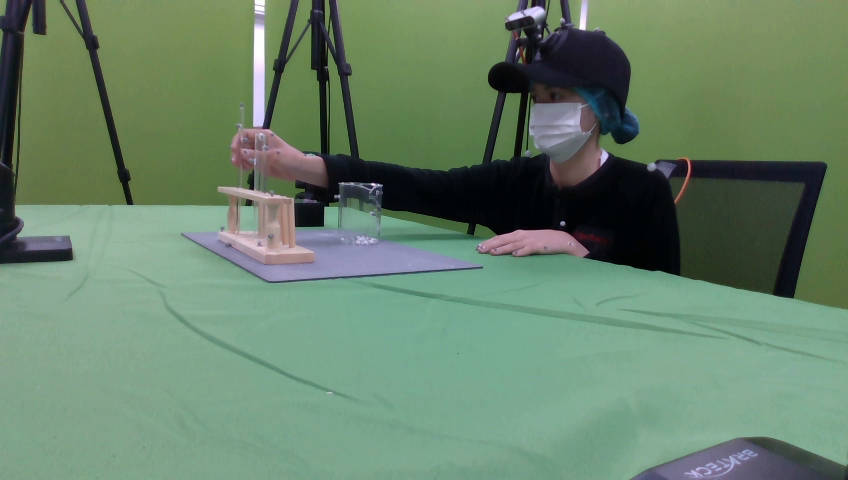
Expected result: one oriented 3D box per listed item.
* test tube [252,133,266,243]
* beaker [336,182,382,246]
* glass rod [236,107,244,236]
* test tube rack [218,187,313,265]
[{"bbox_3d":[-0.225,-0.070,0.826,0.017,0.150,0.017,2,2,0],"label":"test tube"},{"bbox_3d":[-0.107,-0.043,0.996,0.074,0.100,0.083,-2,10,-29],"label":"beaker"},{"bbox_3d":[-0.282,-0.103,0.924,0.008,0.199,0.008,2,2,0],"label":"glass rod"},{"bbox_3d":[-0.235,-0.027,0.872,0.067,0.085,0.241,-2,8,-32],"label":"test tube rack"}]
